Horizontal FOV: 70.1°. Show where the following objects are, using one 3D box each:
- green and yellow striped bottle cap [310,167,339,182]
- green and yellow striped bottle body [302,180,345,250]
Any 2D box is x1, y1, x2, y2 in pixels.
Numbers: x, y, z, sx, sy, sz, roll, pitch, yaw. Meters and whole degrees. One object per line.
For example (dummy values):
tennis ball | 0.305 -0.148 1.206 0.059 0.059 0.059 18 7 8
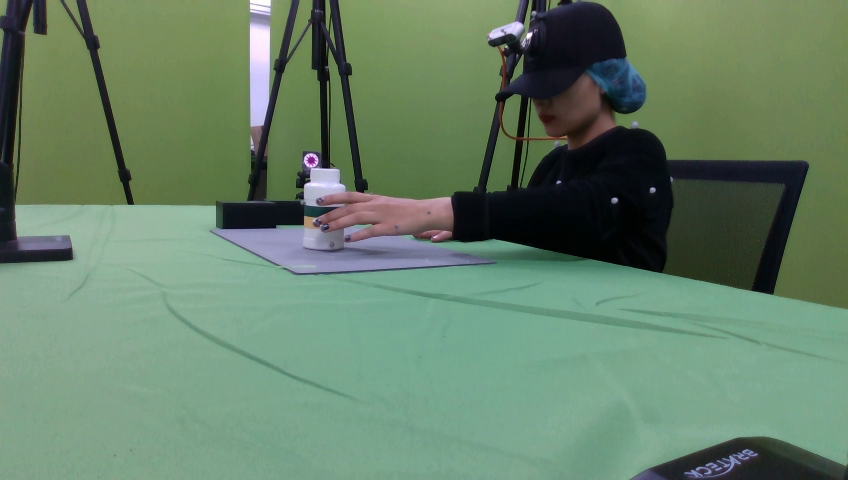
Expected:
green and yellow striped bottle cap | -0.150 -0.098 0.912 0.045 0.020 0.045 4 8 0
green and yellow striped bottle body | -0.152 -0.047 0.918 0.063 0.119 0.063 3 7 0
